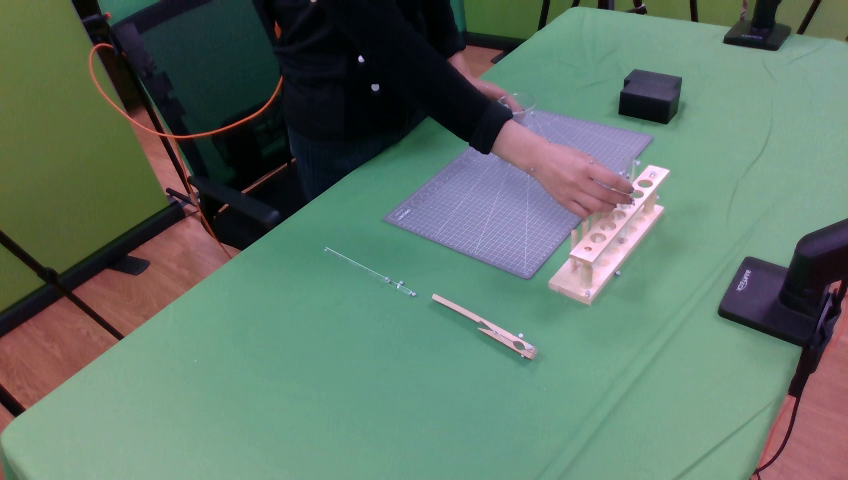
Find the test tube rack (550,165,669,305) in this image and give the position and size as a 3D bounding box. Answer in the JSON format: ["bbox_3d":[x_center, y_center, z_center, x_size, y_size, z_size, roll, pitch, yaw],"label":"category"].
[{"bbox_3d":[0.279,-0.018,0.902,0.066,0.085,0.243,24,50,33],"label":"test tube rack"}]

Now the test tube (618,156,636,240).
[{"bbox_3d":[0.291,-0.057,0.867,0.017,0.151,0.017,-6,43,7],"label":"test tube"}]

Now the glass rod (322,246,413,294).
[{"bbox_3d":[-0.093,0.045,0.955,0.198,0.008,0.008,24,51,32],"label":"glass rod"}]

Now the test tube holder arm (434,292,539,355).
[{"bbox_3d":[0.081,0.113,0.832,0.177,0.015,0.013,28,84,36],"label":"test tube holder arm"}]

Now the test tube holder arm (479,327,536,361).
[{"bbox_3d":[0.110,0.135,0.805,0.087,0.015,0.010,29,84,36],"label":"test tube holder arm"}]

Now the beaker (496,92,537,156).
[{"bbox_3d":[0.173,-0.214,1.137,0.084,0.101,0.073,-36,46,-27],"label":"beaker"}]
